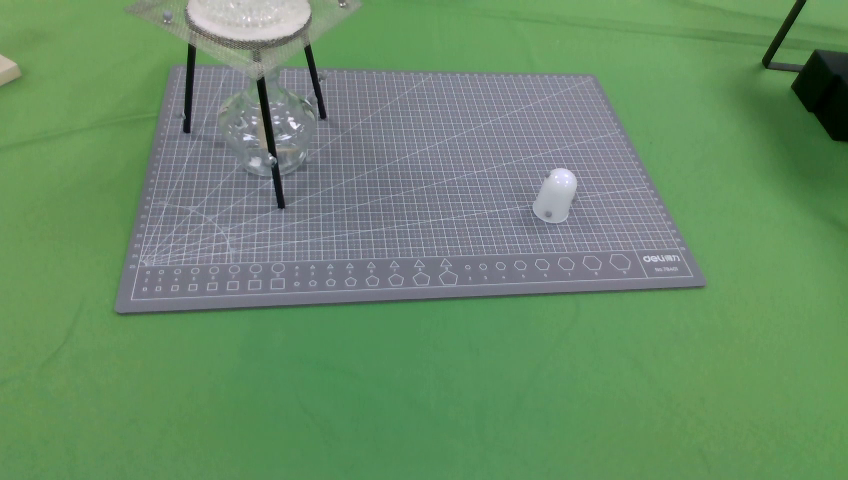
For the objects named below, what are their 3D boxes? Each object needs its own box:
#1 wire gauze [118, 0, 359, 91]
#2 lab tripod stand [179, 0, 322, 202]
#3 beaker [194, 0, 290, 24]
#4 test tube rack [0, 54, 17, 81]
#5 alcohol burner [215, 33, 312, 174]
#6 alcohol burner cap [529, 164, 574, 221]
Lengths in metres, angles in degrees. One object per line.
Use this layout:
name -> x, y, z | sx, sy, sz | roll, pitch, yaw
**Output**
wire gauze -> -0.129, -0.167, 0.437 | 0.124, 0.011, 0.121 | 31, 54, 12
lab tripod stand -> -0.135, -0.125, 0.486 | 0.149, 0.132, 0.147 | 6, 49, -6
beaker -> -0.128, -0.204, 0.403 | 0.073, 0.101, 0.084 | 36, 55, 19
test tube rack -> -0.464, -0.126, 0.469 | 0.066, 0.086, 0.241 | 28, 51, 15
alcohol burner -> -0.130, -0.113, 0.490 | 0.078, 0.120, 0.077 | 6, 47, -6
alcohol burner cap -> 0.111, -0.042, 0.516 | 0.034, 0.048, 0.033 | 4, 48, -5
